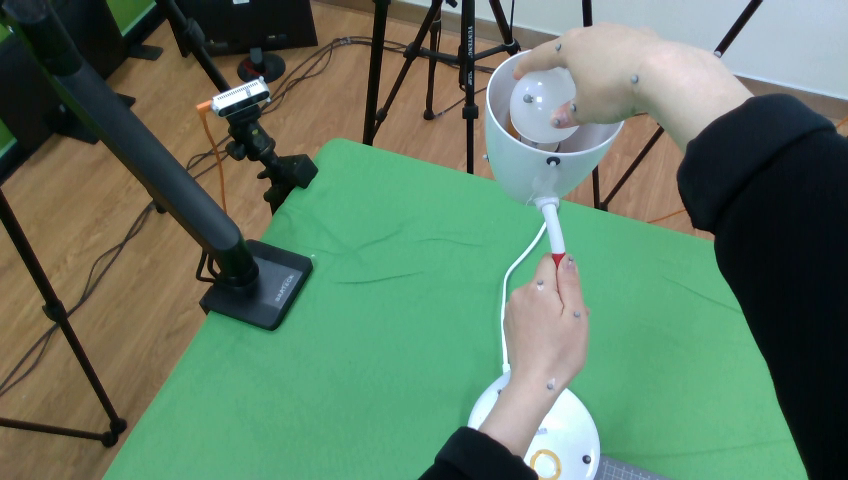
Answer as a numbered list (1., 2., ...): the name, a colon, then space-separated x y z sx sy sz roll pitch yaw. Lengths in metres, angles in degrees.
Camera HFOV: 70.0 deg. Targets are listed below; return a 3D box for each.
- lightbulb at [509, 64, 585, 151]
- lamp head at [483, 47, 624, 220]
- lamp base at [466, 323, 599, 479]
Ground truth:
1. lightbulb: 0.099 -0.098 0.504 0.059 0.108 0.059 -1 64 2
2. lamp head: 0.103 -0.081 0.524 0.112 0.124 0.111 1 56 -1
3. lamp base: 0.124 0.184 0.676 0.161 0.182 0.177 -19 55 -12
